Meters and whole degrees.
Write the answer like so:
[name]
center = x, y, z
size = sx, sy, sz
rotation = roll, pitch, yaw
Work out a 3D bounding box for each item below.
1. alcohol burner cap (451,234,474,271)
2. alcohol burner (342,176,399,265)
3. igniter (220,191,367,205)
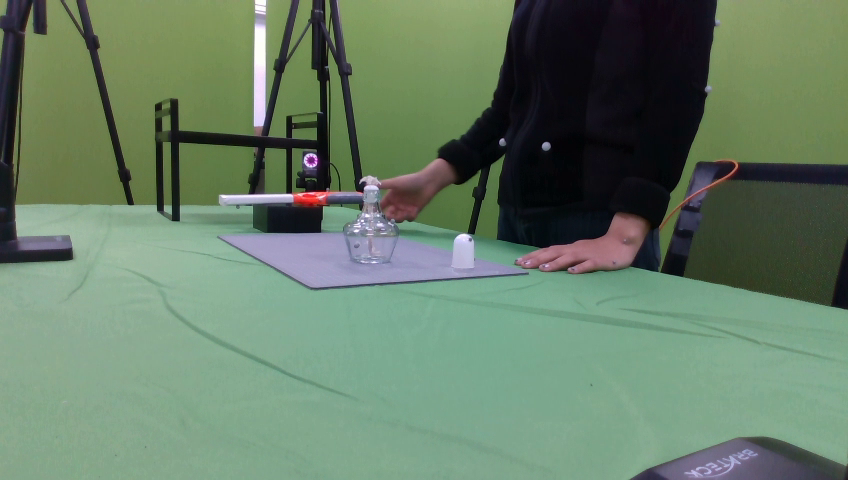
[alcohol burner cap]
center = 0.052, 0.015, 0.808
size = 0.034, 0.048, 0.034
rotation = 3, 9, 0
[alcohol burner]
center = -0.073, -0.027, 0.818
size = 0.078, 0.119, 0.078
rotation = 1, 6, 0
[igniter]
center = -0.243, -0.079, 1.152
size = 0.278, 0.025, 0.057
rotation = -3, 12, -26
